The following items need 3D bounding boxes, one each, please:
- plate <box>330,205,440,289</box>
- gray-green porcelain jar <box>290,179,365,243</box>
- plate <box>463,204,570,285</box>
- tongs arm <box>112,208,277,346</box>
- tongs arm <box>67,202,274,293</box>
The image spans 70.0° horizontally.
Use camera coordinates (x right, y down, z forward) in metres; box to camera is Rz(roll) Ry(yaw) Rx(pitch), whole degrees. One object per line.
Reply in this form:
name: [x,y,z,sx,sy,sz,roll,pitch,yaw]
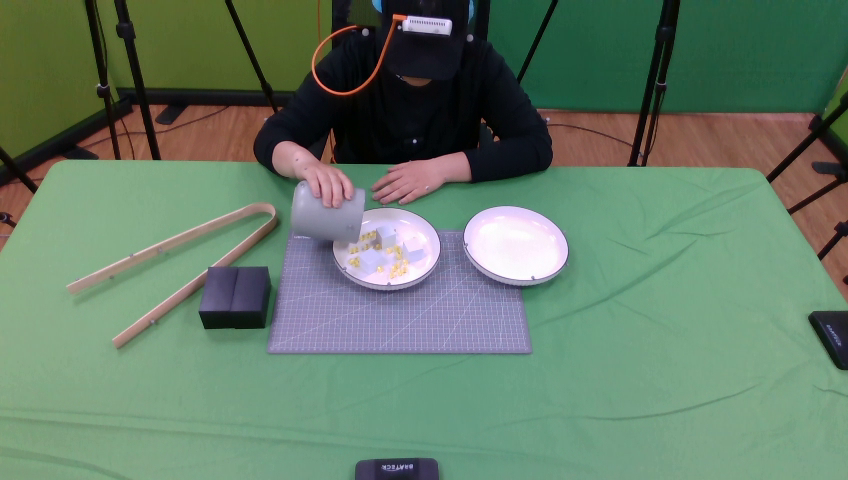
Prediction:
plate: [-0.074,0.018,1.160,0.208,0.039,0.206,2,46,-2]
gray-green porcelain jar: [-0.179,-0.055,1.120,0.127,0.106,0.105,9,46,-11]
plate: [0.178,0.012,1.184,0.209,0.038,0.208,3,46,-3]
tongs arm: [-0.400,0.058,1.108,0.028,0.028,0.387,26,49,23]
tongs arm: [-0.461,0.013,1.142,0.385,0.026,0.050,-31,56,-31]
